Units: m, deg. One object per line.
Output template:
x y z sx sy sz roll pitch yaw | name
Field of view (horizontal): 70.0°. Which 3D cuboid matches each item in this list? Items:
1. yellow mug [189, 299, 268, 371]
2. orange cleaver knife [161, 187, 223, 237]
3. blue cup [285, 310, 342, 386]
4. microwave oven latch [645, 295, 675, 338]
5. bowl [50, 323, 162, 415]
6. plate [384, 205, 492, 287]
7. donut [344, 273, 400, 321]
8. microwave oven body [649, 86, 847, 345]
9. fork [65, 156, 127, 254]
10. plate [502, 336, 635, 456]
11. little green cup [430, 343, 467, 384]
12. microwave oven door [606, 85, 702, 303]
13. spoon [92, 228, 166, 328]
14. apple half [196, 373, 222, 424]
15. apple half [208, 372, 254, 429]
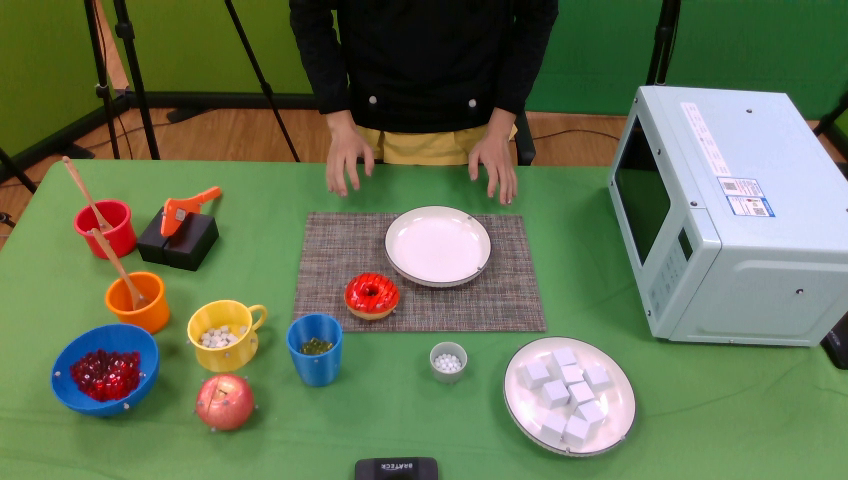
-0.316 0.148 1.002 0.131 0.064 0.099 -32 56 -31 | yellow mug
-0.448 -0.058 1.180 0.012 0.077 0.211 13 17 6 | orange cleaver knife
-0.170 0.179 0.958 0.093 0.101 0.092 1 44 -1 | blue cup
0.412 0.134 1.061 0.030 0.029 0.078 3 45 0 | microwave oven latch
-0.472 0.209 0.924 0.151 0.077 0.150 3 45 -2 | bowl
0.027 0.016 1.169 0.209 0.038 0.208 2 46 -2 | plate
-0.093 0.099 1.075 0.099 0.048 0.098 3 44 -3 | donut
0.567 -0.053 1.118 0.326 0.261 0.439 2 45 -1 | microwave oven body
-0.614 -0.064 1.130 0.028 0.018 0.207 -29 97 -16 | fork
0.225 0.248 0.963 0.208 0.039 0.206 2 46 -2 | plate
0.039 0.203 0.994 0.061 0.039 0.061 2 46 -2 | little green cup
0.423 -0.094 1.141 0.039 0.245 0.353 2 46 -1 | microwave oven door
-0.495 0.063 1.014 0.041 0.194 0.021 -34 12 -31 | spoon
-0.322 0.239 0.907 0.033 0.081 0.081 7 46 -1 | apple half
-0.282 0.244 0.908 0.053 0.075 0.080 7 42 -1 | apple half
